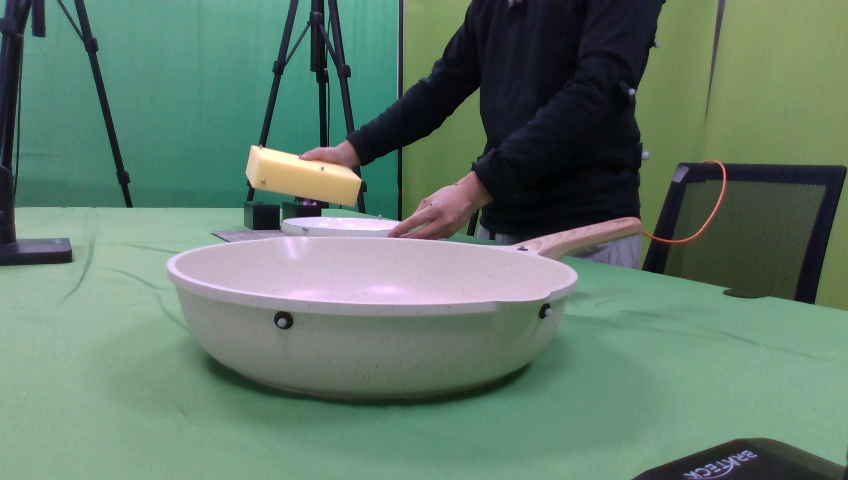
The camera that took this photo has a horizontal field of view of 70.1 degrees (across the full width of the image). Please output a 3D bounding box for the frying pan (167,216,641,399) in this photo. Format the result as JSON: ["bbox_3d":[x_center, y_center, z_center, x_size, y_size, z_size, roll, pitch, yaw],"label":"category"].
[{"bbox_3d":[0.046,0.024,0.519,0.490,0.102,0.305,-14,16,-37],"label":"frying pan"}]

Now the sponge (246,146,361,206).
[{"bbox_3d":[-0.245,-0.130,1.226,0.208,0.061,0.117,9,15,-28],"label":"sponge"}]

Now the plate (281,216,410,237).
[{"bbox_3d":[-0.126,-0.012,0.986,0.208,0.039,0.207,2,7,0],"label":"plate"}]
